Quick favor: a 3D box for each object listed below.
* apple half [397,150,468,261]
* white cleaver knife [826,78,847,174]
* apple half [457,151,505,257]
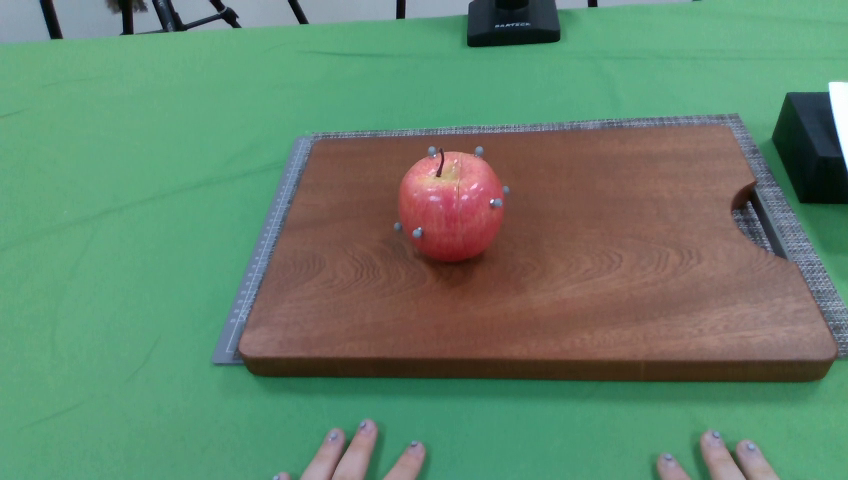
[{"bbox_3d":[0.007,-0.025,0.464,0.053,0.075,0.080,-4,46,11],"label":"apple half"},{"bbox_3d":[0.360,-0.021,0.454,0.066,0.022,0.284,0,55,12],"label":"white cleaver knife"},{"bbox_3d":[0.045,-0.027,0.458,0.033,0.082,0.080,-4,43,10],"label":"apple half"}]
